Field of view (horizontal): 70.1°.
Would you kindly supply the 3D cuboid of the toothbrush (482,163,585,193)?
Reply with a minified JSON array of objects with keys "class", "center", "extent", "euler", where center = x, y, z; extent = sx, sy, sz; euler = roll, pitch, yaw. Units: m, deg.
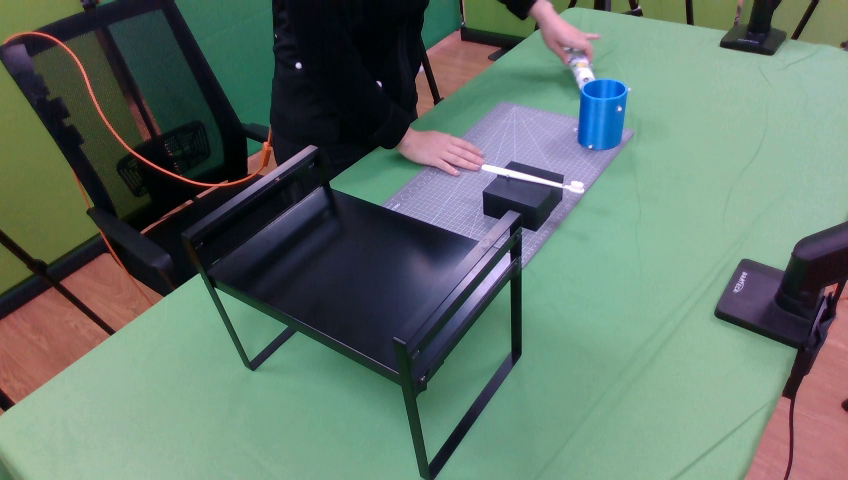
[{"class":"toothbrush","center":[0.178,-0.105,0.997],"extent":[0.180,0.017,0.014],"euler":[17,51,26]}]

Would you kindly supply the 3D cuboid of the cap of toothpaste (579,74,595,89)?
[{"class":"cap of toothpaste","center":[0.343,-0.334,1.274],"extent":[0.037,0.037,0.011],"euler":[-7,43,0]}]

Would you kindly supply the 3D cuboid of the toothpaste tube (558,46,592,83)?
[{"class":"toothpaste tube","center":[0.341,-0.386,1.332],"extent":[0.055,0.035,0.164],"euler":[-6,43,1]}]

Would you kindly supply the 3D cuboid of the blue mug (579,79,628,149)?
[{"class":"blue mug","center":[0.336,-0.246,1.143],"extent":[0.082,0.106,0.116],"euler":[0,41,10]}]
